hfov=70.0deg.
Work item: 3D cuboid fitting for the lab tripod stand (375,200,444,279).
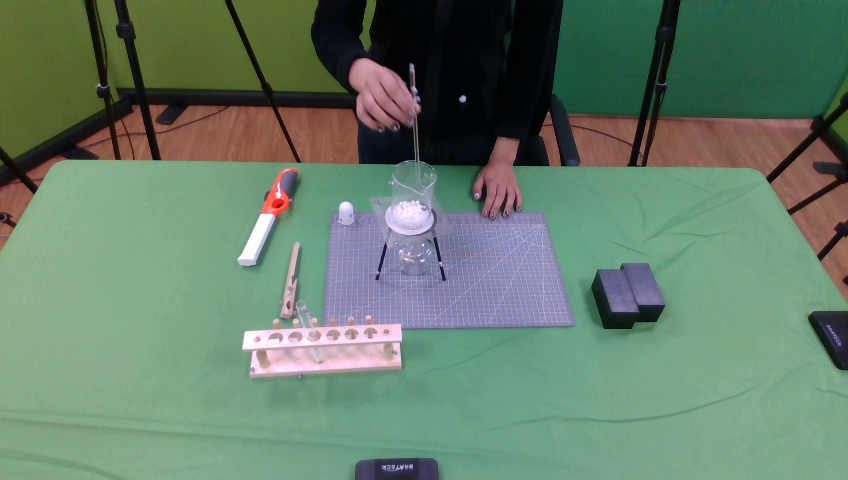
[{"bbox_3d":[-0.023,0.004,1.114,0.148,0.132,0.147,4,45,-3],"label":"lab tripod stand"}]

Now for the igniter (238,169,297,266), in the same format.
[{"bbox_3d":[-0.313,-0.055,1.224,0.057,0.025,0.275,1,45,10],"label":"igniter"}]

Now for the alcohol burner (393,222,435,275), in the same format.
[{"bbox_3d":[-0.018,0.009,1.123,0.078,0.119,0.077,3,47,-3],"label":"alcohol burner"}]

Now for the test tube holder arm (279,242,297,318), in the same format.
[{"bbox_3d":[-0.248,0.069,1.114,0.013,0.015,0.177,25,38,-27],"label":"test tube holder arm"}]

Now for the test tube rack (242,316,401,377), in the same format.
[{"bbox_3d":[-0.161,0.166,0.983,0.242,0.085,0.066,-2,46,-6],"label":"test tube rack"}]

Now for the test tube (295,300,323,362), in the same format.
[{"bbox_3d":[-0.176,0.143,0.935,0.017,0.151,0.017,-2,46,2],"label":"test tube"}]

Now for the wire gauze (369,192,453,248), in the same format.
[{"bbox_3d":[-0.025,-0.041,1.065,0.122,0.011,0.124,-10,46,-18],"label":"wire gauze"}]

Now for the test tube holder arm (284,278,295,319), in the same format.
[{"bbox_3d":[-0.241,0.103,1.085,0.010,0.015,0.087,26,38,-27],"label":"test tube holder arm"}]

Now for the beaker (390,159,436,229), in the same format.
[{"bbox_3d":[-0.020,-0.073,1.029,0.074,0.101,0.083,-10,48,-16],"label":"beaker"}]

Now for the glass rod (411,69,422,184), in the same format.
[{"bbox_3d":[-0.011,-0.168,0.930,0.008,0.201,0.008,-2,41,2],"label":"glass rod"}]

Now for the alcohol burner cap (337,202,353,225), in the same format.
[{"bbox_3d":[-0.161,-0.056,1.223,0.034,0.048,0.033,2,46,-2],"label":"alcohol burner cap"}]
